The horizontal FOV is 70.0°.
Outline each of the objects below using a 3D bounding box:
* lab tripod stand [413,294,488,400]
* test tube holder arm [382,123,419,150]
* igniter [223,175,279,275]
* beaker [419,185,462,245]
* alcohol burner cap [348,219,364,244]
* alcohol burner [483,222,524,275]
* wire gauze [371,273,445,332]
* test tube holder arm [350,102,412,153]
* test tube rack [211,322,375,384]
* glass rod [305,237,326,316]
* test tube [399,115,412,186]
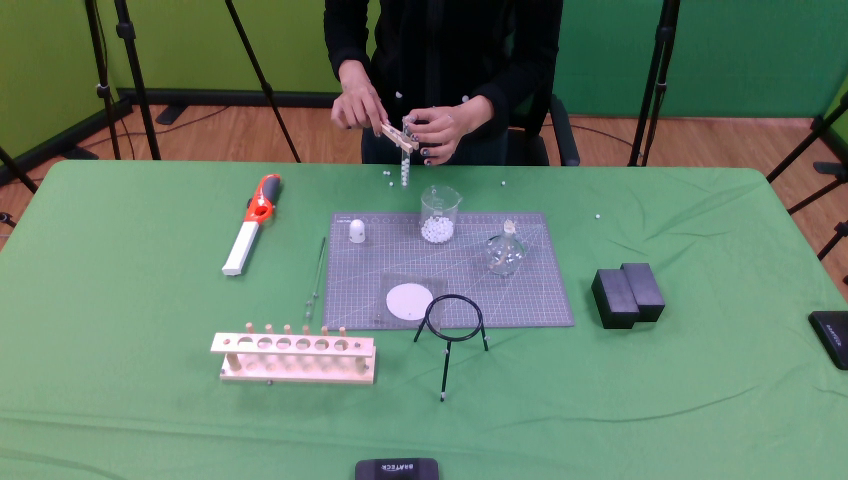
[{"bbox_3d":[0.044,0.159,0.972,0.148,0.132,0.147,2,44,-2],"label":"lab tripod stand"},{"bbox_3d":[-0.046,-0.187,1.090,0.087,0.015,0.010,31,46,24],"label":"test tube holder arm"},{"bbox_3d":[-0.341,-0.039,1.207,0.057,0.025,0.275,-1,45,8],"label":"igniter"},{"bbox_3d":[0.029,-0.047,1.191,0.084,0.101,0.073,-5,47,-10],"label":"beaker"},{"bbox_3d":[-0.134,-0.019,1.190,0.034,0.048,0.033,2,46,-2],"label":"alcohol burner cap"},{"bbox_3d":[0.152,0.009,1.136,0.078,0.119,0.077,4,46,-4],"label":"alcohol burner"},{"bbox_3d":[-0.028,0.108,1.100,0.125,0.011,0.121,7,45,4],"label":"wire gauze"},{"bbox_3d":[-0.081,-0.208,1.108,0.013,0.015,0.177,-27,52,-34],"label":"test tube holder arm"},{"bbox_3d":[-0.203,0.176,0.969,0.242,0.085,0.066,3,46,-2],"label":"test tube rack"},{"bbox_3d":[-0.202,0.064,1.131,0.008,0.008,0.198,4,43,0],"label":"glass rod"},{"bbox_3d":[-0.034,-0.158,1.091,0.017,0.151,0.017,3,45,-3],"label":"test tube"}]
